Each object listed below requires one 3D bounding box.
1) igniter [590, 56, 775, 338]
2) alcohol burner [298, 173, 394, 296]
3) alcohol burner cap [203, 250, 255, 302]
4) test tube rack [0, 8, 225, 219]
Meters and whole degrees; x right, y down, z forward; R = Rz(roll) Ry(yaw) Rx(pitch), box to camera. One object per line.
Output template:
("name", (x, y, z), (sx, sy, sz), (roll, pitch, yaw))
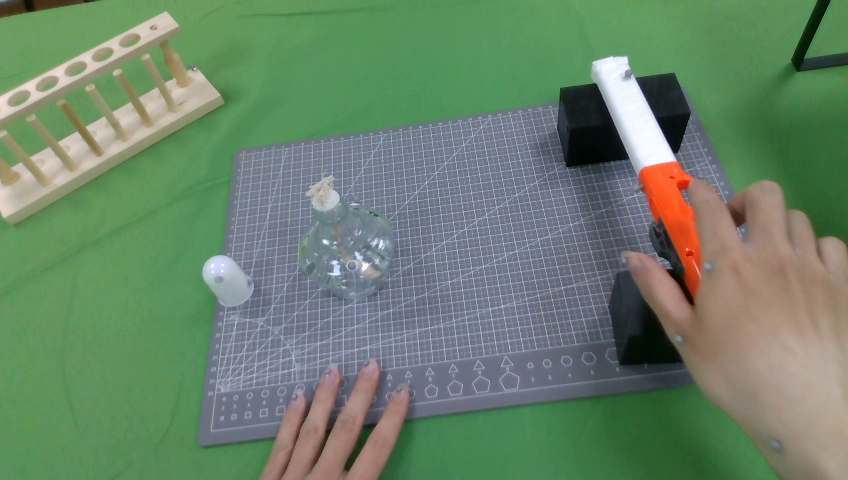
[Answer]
("igniter", (0.182, -0.047, 0.457), (0.057, 0.025, 0.273), (-12, 54, 2))
("alcohol burner", (-0.065, -0.008, 0.472), (0.078, 0.120, 0.077), (-4, 54, 6))
("alcohol burner cap", (-0.165, 0.027, 0.506), (0.034, 0.048, 0.033), (-4, 57, 6))
("test tube rack", (-0.337, -0.130, 0.612), (0.242, 0.086, 0.066), (-35, 59, -15))
